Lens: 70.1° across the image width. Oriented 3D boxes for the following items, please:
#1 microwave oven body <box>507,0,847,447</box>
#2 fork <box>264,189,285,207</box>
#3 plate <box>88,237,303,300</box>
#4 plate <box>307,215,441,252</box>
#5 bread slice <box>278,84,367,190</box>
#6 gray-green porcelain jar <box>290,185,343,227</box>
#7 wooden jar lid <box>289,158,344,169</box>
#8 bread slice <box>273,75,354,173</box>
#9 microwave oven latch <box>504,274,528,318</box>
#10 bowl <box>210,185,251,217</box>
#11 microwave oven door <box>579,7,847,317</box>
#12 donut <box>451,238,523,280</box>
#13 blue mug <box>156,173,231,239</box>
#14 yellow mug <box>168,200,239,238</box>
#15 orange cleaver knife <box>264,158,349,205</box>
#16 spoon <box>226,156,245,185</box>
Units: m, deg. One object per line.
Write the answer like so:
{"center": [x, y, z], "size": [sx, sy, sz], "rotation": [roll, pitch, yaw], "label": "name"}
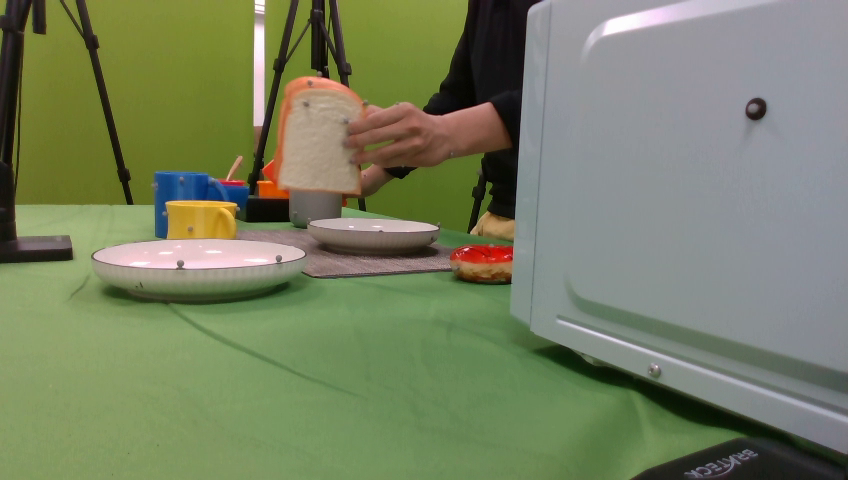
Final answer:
{"center": [0.331, -0.042, 0.425], "size": [0.444, 0.260, 0.324], "rotation": [-2, 8, -31], "label": "microwave oven body"}
{"center": [-0.331, -0.144, 1.506], "size": [0.207, 0.018, 0.028], "rotation": [-42, -20, 22], "label": "fork"}
{"center": [-0.233, 0.029, 0.637], "size": [0.208, 0.039, 0.207], "rotation": [2, 7, 0], "label": "plate"}
{"center": [-0.078, -0.011, 0.954], "size": [0.209, 0.038, 0.209], "rotation": [2, 8, 0], "label": "plate"}
{"center": [-0.127, -0.127, 0.755], "size": [0.107, 0.134, 0.018], "rotation": [-2, 28, -18], "label": "bread slice"}
{"center": [-0.217, -0.091, 1.221], "size": [0.106, 0.126, 0.106], "rotation": [2, 7, 0], "label": "gray-green porcelain jar"}
{"center": [-0.215, -0.153, 1.212], "size": [0.108, 0.020, 0.108], "rotation": [2, 5, 0], "label": "wooden jar lid"}
{"center": [-0.139, -0.149, 0.796], "size": [0.105, 0.131, 0.019], "rotation": [3, 20, -21], "label": "bread slice"}
{"center": [0.100, 0.041, 0.471], "size": [0.079, 0.029, 0.030], "rotation": [-1, 8, -28], "label": "microwave oven latch"}
{"center": [-0.408, -0.064, 1.155], "size": [0.151, 0.077, 0.151], "rotation": [2, 8, 0], "label": "bowl"}
{"center": [0.294, -0.067, 0.570], "size": [0.358, 0.243, 0.039], "rotation": [-3, 9, -31], "label": "microwave oven door"}
{"center": [0.083, 0.022, 0.745], "size": [0.099, 0.048, 0.099], "rotation": [0, 5, 0], "label": "donut"}
{"center": [-0.381, -0.057, 1.004], "size": [0.117, 0.106, 0.082], "rotation": [0, 8, -12], "label": "blue mug"}
{"center": [-0.320, -0.023, 0.904], "size": [0.130, 0.064, 0.100], "rotation": [9, 11, 36], "label": "yellow mug"}
{"center": [-0.263, -0.122, 1.370], "size": [0.212, 0.077, 0.012], "rotation": [35, -6, -33], "label": "orange cleaver knife"}
{"center": [-0.477, -0.145, 1.492], "size": [0.041, 0.022, 0.193], "rotation": [0, 51, 12], "label": "spoon"}
